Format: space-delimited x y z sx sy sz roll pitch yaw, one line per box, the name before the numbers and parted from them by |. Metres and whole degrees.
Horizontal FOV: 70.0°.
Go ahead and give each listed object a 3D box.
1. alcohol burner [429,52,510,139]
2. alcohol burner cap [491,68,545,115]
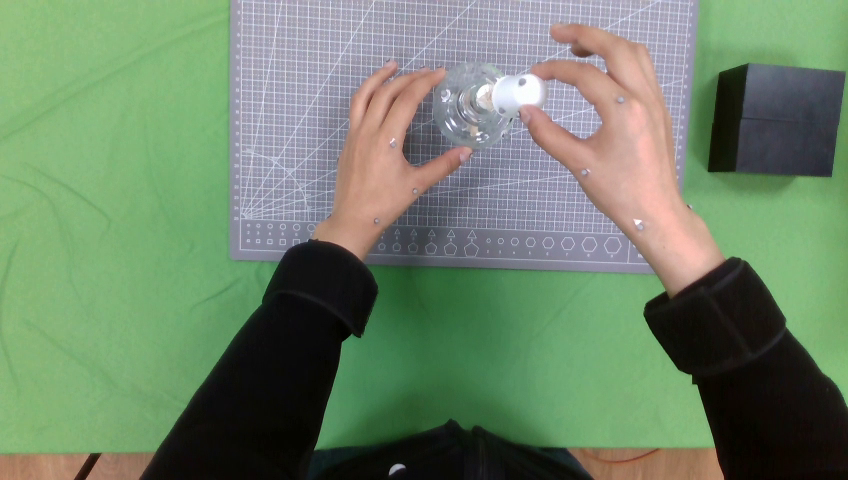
alcohol burner | 0.045 -0.129 0.536 0.078 0.118 0.078 -1 98 -7
alcohol burner cap | 0.072 -0.113 0.455 0.034 0.047 0.034 -2 98 -11
